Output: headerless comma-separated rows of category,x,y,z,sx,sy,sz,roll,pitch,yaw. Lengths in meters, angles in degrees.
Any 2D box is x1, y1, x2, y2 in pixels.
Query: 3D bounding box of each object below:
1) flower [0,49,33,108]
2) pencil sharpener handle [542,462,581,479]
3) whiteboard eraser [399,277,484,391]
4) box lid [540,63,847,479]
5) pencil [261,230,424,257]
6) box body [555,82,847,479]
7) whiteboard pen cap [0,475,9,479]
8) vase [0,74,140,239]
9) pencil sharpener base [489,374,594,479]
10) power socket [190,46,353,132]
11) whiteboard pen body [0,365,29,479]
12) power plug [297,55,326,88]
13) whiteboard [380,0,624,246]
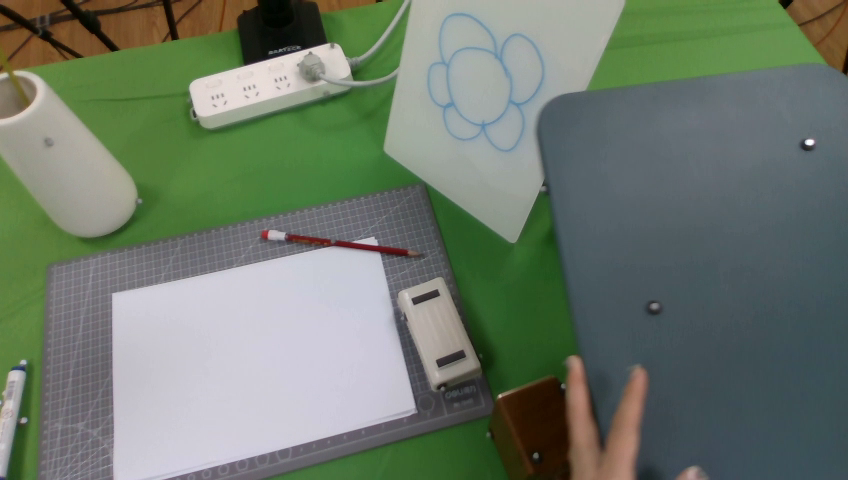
flower,-0.392,-0.141,0.595,0.038,0.365,0.043,-24,45,-20
pencil sharpener handle,0.125,0.215,0.522,0.036,0.068,0.030,-23,62,0
whiteboard eraser,0.017,0.098,0.637,0.056,0.042,0.111,-18,62,-11
box lid,0.239,0.027,0.446,0.263,0.015,0.368,-6,65,3
pencil,-0.095,0.006,0.710,0.194,0.012,0.012,8,61,3
box body,0.308,0.048,0.597,0.254,0.161,0.360,-14,61,-7
whiteboard pen cap,-0.403,0.240,0.570,0.018,0.018,0.033,-9,55,-4
vase,-0.393,-0.083,0.656,0.098,0.201,0.097,-1,60,2
pencil sharpener base,0.104,0.181,0.556,0.061,0.108,0.076,-18,62,-10
power socket,-0.204,-0.206,0.819,0.227,0.033,0.071,-18,63,-10
whiteboard pen body,-0.412,0.191,0.602,0.017,0.017,0.139,-10,57,-5
power plug,-0.146,-0.210,0.795,0.035,0.053,0.072,-10,62,-4
whiteboard,0.098,-0.186,0.685,0.215,0.307,0.144,38,48,20
